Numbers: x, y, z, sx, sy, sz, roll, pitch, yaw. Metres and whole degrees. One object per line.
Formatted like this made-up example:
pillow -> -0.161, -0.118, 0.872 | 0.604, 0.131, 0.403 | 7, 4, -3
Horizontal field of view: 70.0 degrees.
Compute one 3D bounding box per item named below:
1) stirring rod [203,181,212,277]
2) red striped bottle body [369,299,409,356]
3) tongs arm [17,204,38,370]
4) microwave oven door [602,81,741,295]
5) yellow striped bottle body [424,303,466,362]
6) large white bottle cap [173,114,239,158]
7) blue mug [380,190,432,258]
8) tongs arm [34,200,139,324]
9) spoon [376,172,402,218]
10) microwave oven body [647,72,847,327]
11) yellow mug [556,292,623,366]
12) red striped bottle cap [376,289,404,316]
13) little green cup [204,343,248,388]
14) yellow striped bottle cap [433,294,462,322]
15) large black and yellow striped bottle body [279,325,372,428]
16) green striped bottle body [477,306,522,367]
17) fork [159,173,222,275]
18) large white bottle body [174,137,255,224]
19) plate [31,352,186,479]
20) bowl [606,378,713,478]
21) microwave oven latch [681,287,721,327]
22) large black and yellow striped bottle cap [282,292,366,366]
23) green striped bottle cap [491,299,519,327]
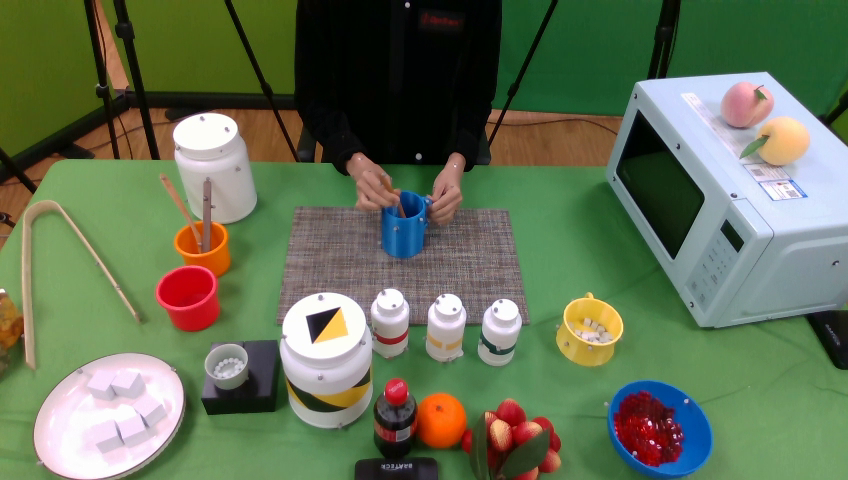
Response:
stirring rod -> -0.396, -0.021, 1.108 | 0.014, 0.006, 0.176 | -1, 89, -1
red striped bottle body -> -0.058, 0.134, 0.997 | 0.063, 0.120, 0.062 | 4, 47, -4
tongs arm -> -0.698, 0.069, 1.068 | 0.028, 0.028, 0.385 | -20, 50, -13
microwave oven door -> 0.456, -0.107, 1.162 | 0.039, 0.245, 0.353 | -7, 47, -11
yellow striped bottle body -> 0.035, 0.143, 0.995 | 0.063, 0.121, 0.062 | 3, 46, -3
large white bottle cap -> -0.403, -0.195, 1.122 | 0.115, 0.018, 0.114 | 2, 47, -2
blue mug -> -0.030, -0.037, 1.169 | 0.116, 0.106, 0.082 | -28, 55, -28
tongs arm -> -0.622, 0.034, 1.105 | 0.051, 0.026, 0.382 | -32, 55, -26
spoon -> -0.054, -0.058, 1.109 | 0.041, 0.195, 0.021 | 31, 65, 36
microwave oven body -> 0.607, -0.089, 1.164 | 0.326, 0.261, 0.438 | -7, 46, -10
yellow mug -> 0.285, 0.145, 1.051 | 0.100, 0.064, 0.130 | 7, 45, 3
red striped bottle cap -> -0.055, 0.098, 0.959 | 0.044, 0.018, 0.044 | 0, 48, 0
little green cup -> -0.294, 0.190, 0.909 | 0.061, 0.039, 0.061 | 1, 48, -1
yellow striped bottle cap -> 0.037, 0.107, 0.958 | 0.044, 0.019, 0.044 | 2, 45, -2
large black and yellow striped bottle body -> -0.143, 0.181, 0.900 | 0.131, 0.185, 0.130 | 2, 46, -2
green striped bottle body -> 0.124, 0.151, 0.995 | 0.063, 0.120, 0.063 | 2, 46, -2
fork -> -0.427, -0.029, 1.103 | 0.028, 0.018, 0.207 | -31, 99, -30
large white bottle body -> -0.408, -0.136, 1.183 | 0.131, 0.185, 0.130 | 2, 46, -2
plate -> -0.459, 0.262, 0.898 | 0.209, 0.038, 0.208 | 2, 46, -2
bowl -> 0.340, 0.292, 0.906 | 0.151, 0.077, 0.150 | 2, 46, -2
microwave oven latch -> 0.494, 0.119, 1.087 | 0.030, 0.029, 0.078 | -6, 46, -9
large black and yellow striped bottle cap -> -0.138, 0.121, 0.841 | 0.115, 0.019, 0.114 | 3, 47, -3
green striped bottle cap -> 0.128, 0.115, 0.958 | 0.044, 0.020, 0.044 | 1, 46, -1
